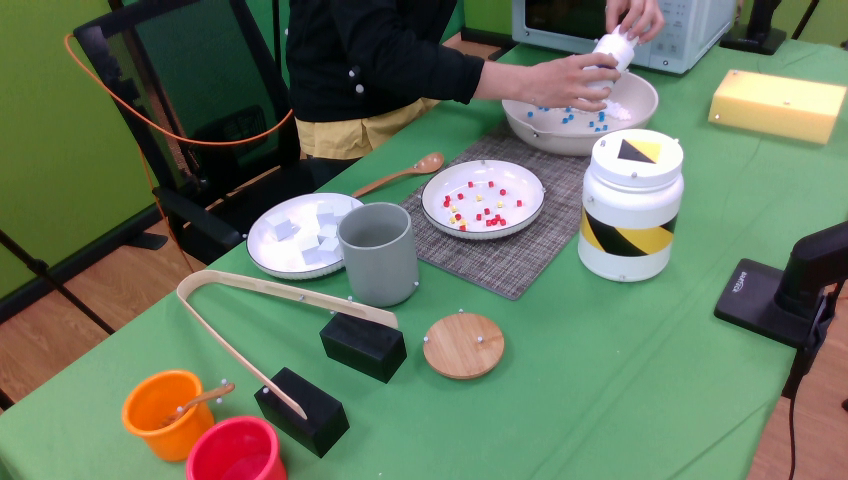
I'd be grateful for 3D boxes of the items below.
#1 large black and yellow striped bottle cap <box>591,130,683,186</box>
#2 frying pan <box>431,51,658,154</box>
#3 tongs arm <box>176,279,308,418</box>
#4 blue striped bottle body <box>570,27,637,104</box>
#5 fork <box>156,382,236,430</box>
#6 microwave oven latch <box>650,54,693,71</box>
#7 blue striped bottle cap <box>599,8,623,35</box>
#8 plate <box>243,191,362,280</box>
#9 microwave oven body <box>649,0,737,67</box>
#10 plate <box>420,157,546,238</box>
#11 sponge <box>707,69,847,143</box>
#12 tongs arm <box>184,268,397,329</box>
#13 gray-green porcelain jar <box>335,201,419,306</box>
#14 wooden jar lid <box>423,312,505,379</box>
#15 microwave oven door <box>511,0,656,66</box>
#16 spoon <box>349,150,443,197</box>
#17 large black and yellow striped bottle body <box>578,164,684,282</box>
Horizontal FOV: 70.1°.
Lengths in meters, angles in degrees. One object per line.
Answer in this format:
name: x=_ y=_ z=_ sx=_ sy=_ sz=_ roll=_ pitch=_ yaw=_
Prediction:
large black and yellow striped bottle cap: x=0.282 y=-0.111 z=0.803 sx=0.115 sy=0.019 sz=0.114 roll=-3 pitch=41 yaw=3
frying pan: x=0.216 y=-0.302 z=1.223 sx=0.484 sy=0.103 sz=0.308 roll=29 pitch=50 yaw=24
tongs arm: x=-0.255 y=0.132 z=0.801 sx=0.028 sy=0.028 sz=0.384 roll=-41 pitch=40 yaw=-23
blue striped bottle body: x=0.304 y=-0.295 z=1.011 sx=0.062 sy=0.063 sz=0.121 roll=37 pitch=93 yaw=39
fork: x=-0.262 y=0.189 z=0.690 sx=0.018 sy=0.206 sz=0.028 roll=48 pitch=43 yaw=-7
microwave oven latch: x=0.531 y=-0.386 z=1.301 sx=0.078 sy=0.029 sz=0.030 roll=26 pitch=51 yaw=33
blue striped bottle cap: x=0.314 y=-0.366 z=1.014 sx=0.021 sy=0.045 sz=0.044 roll=-20 pitch=42 yaw=-8
plate: x=-0.188 y=-0.005 z=0.992 sx=0.207 sy=0.039 sz=0.206 roll=-4 pitch=40 yaw=3
microwave oven body: x=0.475 y=-0.602 z=1.411 sx=0.438 sy=0.261 sz=0.327 roll=23 pitch=50 yaw=32
plate: x=0.099 y=-0.067 z=1.017 sx=0.209 sy=0.038 sz=0.208 roll=-4 pitch=40 yaw=4
sponge: x=0.663 y=-0.256 z=1.141 sx=0.205 sy=0.061 sz=0.118 roll=18 pitch=47 yaw=28
tongs arm: x=-0.202 y=0.084 z=0.848 sx=0.382 sy=0.027 sz=0.051 roll=11 pitch=44 yaw=35
gray-green porcelain jar: x=-0.064 y=0.024 z=0.872 sx=0.106 sy=0.127 sz=0.105 roll=-4 pitch=41 yaw=4
wooden jar lid: x=0.053 y=0.142 z=0.800 sx=0.108 sy=0.021 sz=0.108 roll=-5 pitch=39 yaw=4
microwave oven door: x=0.351 y=-0.540 z=1.349 sx=0.353 sy=0.245 sz=0.039 roll=24 pitch=50 yaw=31
spoon: x=-0.051 y=-0.123 z=1.120 sx=0.194 sy=0.022 sz=0.041 roll=-22 pitch=61 yaw=-18
large black and yellow striped bottle body: x=0.292 y=-0.046 z=0.859 sx=0.131 sy=0.185 sz=0.130 roll=-4 pitch=41 yaw=4
